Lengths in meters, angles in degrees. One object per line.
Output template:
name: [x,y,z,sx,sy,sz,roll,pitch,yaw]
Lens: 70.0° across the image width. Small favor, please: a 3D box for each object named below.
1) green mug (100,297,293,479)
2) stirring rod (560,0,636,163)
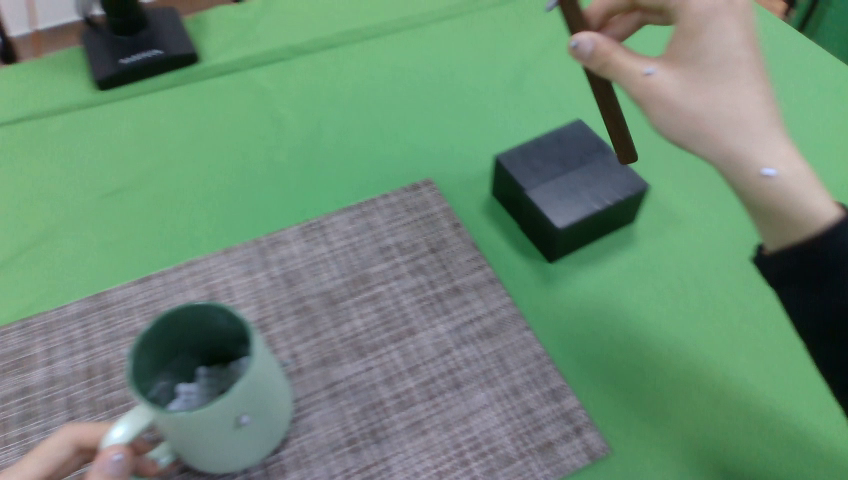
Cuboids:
green mug: [-0.154,0.109,0.409,0.092,0.106,0.125,35,61,23]
stirring rod: [0.106,-0.120,0.386,0.014,0.178,0.006,-10,39,31]
